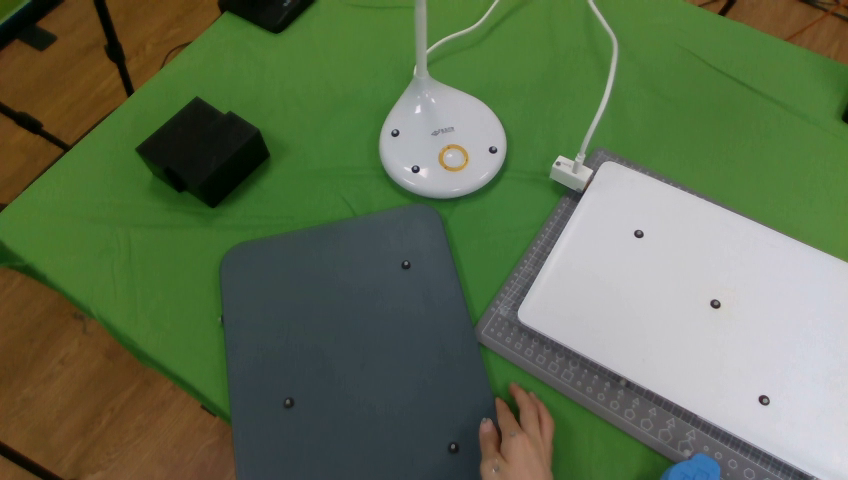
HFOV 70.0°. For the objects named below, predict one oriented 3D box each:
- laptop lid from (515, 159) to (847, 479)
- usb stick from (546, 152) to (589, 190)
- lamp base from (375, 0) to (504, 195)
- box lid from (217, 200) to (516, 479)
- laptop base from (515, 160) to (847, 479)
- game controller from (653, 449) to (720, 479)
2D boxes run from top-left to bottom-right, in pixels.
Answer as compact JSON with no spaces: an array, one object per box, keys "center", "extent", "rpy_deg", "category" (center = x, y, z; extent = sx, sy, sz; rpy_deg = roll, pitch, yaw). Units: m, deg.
[{"center":[0.301,0.067,0.637],"extent":[0.355,0.013,0.241],"rpy_deg":[29,69,16],"category":"laptop lid"},{"center":[0.176,-0.078,0.716],"extent":[0.059,0.027,0.021],"rpy_deg":[31,63,13],"category":"usb stick"},{"center":[0.010,-0.170,0.693],"extent":[0.161,0.182,0.177],"rpy_deg":[-26,62,-12],"category":"lamp base"},{"center":[-0.073,0.132,0.633],"extent":[0.263,0.015,0.368],"rpy_deg":[-13,63,-5],"category":"box lid"},{"center":[0.303,0.071,0.648],"extent":[0.352,0.023,0.235],"rpy_deg":[27,70,15],"category":"laptop base"},{"center":[0.273,0.257,0.536],"extent":[0.154,0.052,0.097],"rpy_deg":[30,65,16],"category":"game controller"}]
